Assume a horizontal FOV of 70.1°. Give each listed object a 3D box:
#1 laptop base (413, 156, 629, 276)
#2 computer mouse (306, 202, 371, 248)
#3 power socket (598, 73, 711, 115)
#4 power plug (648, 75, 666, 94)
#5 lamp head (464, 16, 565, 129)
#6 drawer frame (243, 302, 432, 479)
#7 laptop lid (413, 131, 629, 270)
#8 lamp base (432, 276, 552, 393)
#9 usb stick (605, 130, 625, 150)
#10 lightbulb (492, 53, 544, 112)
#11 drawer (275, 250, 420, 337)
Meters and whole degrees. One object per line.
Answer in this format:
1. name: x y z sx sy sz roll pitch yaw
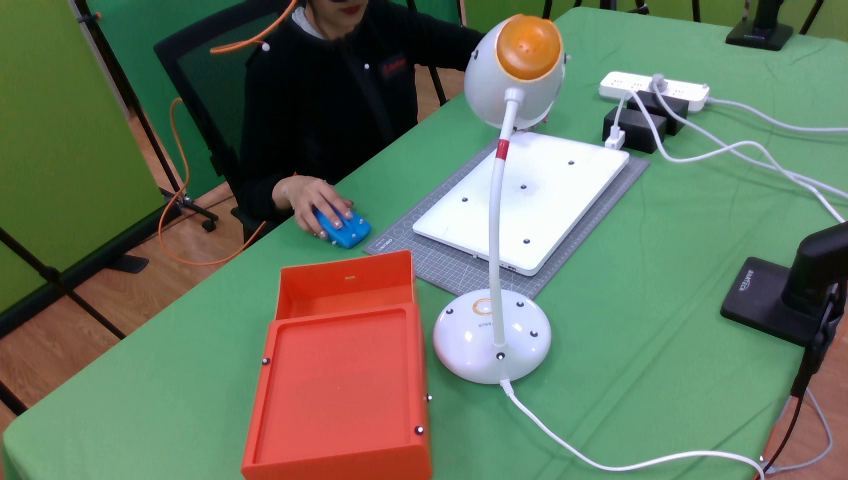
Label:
1. laptop base: 0.175 -0.077 1.048 0.233 0.023 0.355 19 47 34
2. computer mouse: -0.148 -0.029 1.040 0.116 0.041 0.063 27 51 31
3. power socket: 0.470 -0.303 1.249 0.225 0.033 0.072 20 49 30
4. power plug: 0.457 -0.301 1.212 0.073 0.053 0.035 -36 46 -28
5. lamp head: 0.101 -0.184 0.655 0.112 0.112 0.123 -9 0 0
6. drawer frame: -0.096 0.185 0.738 0.202 0.083 0.212 -8 40 1
7. laptop lid: 0.172 -0.087 1.042 0.239 0.013 0.358 21 48 34
8. lamp base: 0.085 0.075 0.756 0.161 0.181 0.178 -14 44 -6
9. usb stick: 0.348 -0.175 1.110 0.021 0.027 0.059 19 52 29
10. lightbulb: 0.109 -0.181 0.679 0.059 0.059 0.107 -10 -3 0
11. drawer: -0.104 0.117 0.825 0.194 0.073 0.210 -8 40 1
